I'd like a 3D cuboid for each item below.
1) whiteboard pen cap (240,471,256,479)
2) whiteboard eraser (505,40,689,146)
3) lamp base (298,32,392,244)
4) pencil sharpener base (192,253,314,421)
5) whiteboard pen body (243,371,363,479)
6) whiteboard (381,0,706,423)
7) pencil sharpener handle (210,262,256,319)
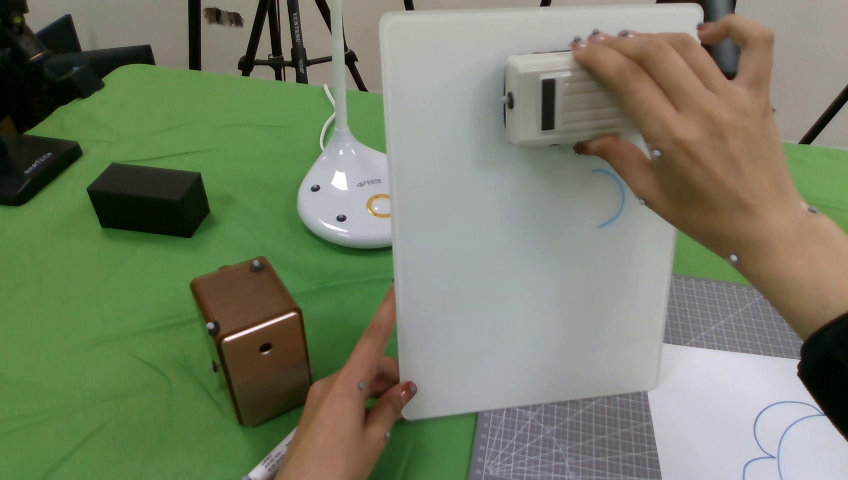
[{"bbox_3d":[-0.126,0.174,0.412,0.018,0.018,0.033,26,42,26],"label":"whiteboard pen cap"},{"bbox_3d":[0.108,-0.094,0.387,0.113,0.056,0.041,-7,22,-7],"label":"whiteboard eraser"},{"bbox_3d":[-0.066,-0.114,0.641,0.161,0.182,0.177,-25,45,-28],"label":"lamp base"},{"bbox_3d":[-0.132,0.075,0.472,0.061,0.108,0.076,-21,45,-24],"label":"pencil sharpener base"},{"bbox_3d":[-0.095,0.146,0.455,0.017,0.017,0.140,25,41,25],"label":"whiteboard pen body"},{"bbox_3d":[0.076,-0.031,0.500,0.217,0.307,0.142,-5,22,-7],"label":"whiteboard"},{"bbox_3d":[-0.156,0.036,0.497,0.036,0.068,0.030,-27,47,-19],"label":"pencil sharpener handle"}]
